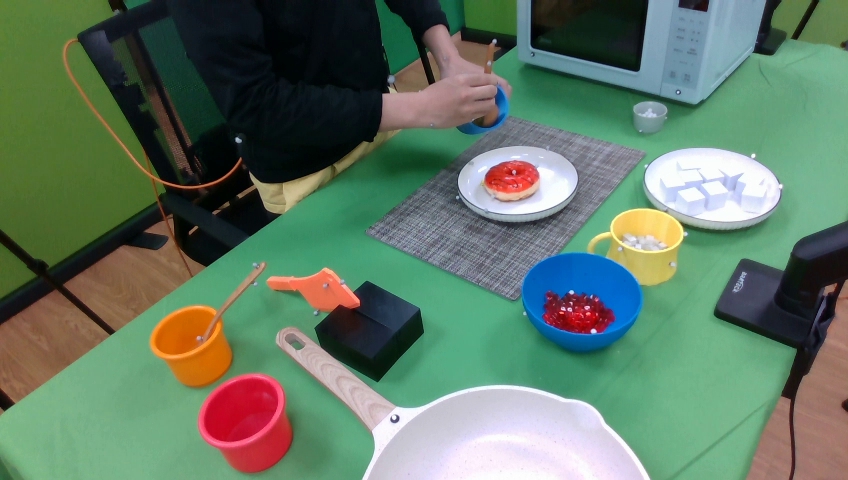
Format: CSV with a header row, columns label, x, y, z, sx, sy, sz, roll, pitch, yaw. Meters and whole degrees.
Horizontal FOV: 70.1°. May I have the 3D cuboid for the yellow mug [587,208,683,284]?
label,x,y,z,sx,sy,sz,roll,pitch,yaw
yellow mug,0.305,0.009,0.884,0.131,0.064,0.099,-4,40,5

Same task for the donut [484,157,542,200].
label,x,y,z,sx,sy,sz,roll,pitch,yaw
donut,0.153,-0.107,1.039,0.099,0.048,0.098,-6,37,5

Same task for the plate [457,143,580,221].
label,x,y,z,sx,sy,sz,roll,pitch,yaw
plate,0.162,-0.097,1.042,0.209,0.038,0.208,-4,40,4

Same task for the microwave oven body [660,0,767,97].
label,x,y,z,sx,sy,sz,roll,pitch,yaw
microwave oven body,0.473,-0.517,1.313,0.438,0.261,0.327,26,51,34

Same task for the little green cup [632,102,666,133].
label,x,y,z,sx,sy,sz,roll,pitch,yaw
little green cup,0.434,-0.237,1.171,0.061,0.039,0.061,-5,40,5

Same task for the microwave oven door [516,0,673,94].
label,x,y,z,sx,sy,sz,roll,pitch,yaw
microwave oven door,0.344,-0.458,1.256,0.353,0.245,0.039,26,52,33

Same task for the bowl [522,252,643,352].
label,x,y,z,sx,sy,sz,roll,pitch,yaw
bowl,0.204,0.093,0.791,0.151,0.077,0.150,-4,40,4

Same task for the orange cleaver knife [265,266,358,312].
label,x,y,z,sx,sy,sz,roll,pitch,yaw
orange cleaver knife,-0.164,0.073,0.864,0.210,0.077,0.012,-6,30,50

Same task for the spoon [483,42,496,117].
label,x,y,z,sx,sy,sz,roll,pitch,yaw
spoon,0.104,-0.244,0.972,0.042,0.194,0.021,-42,65,-16

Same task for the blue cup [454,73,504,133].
label,x,y,z,sx,sy,sz,roll,pitch,yaw
blue cup,0.091,-0.230,1.065,0.093,0.100,0.092,0,85,-2

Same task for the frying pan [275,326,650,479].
label,x,y,z,sx,sy,sz,roll,pitch,yaw
frying pan,0.003,0.229,0.641,0.484,0.103,0.308,34,54,28

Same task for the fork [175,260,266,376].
label,x,y,z,sx,sy,sz,roll,pitch,yaw
fork,-0.268,0.103,0.792,0.207,0.019,0.028,-51,41,16

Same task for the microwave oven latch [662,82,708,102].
label,x,y,z,sx,sy,sz,roll,pitch,yaw
microwave oven latch,0.518,-0.299,1.203,0.078,0.029,0.030,29,53,36

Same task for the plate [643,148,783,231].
label,x,y,z,sx,sy,sz,roll,pitch,yaw
plate,0.464,-0.080,0.986,0.207,0.039,0.206,-4,41,4
